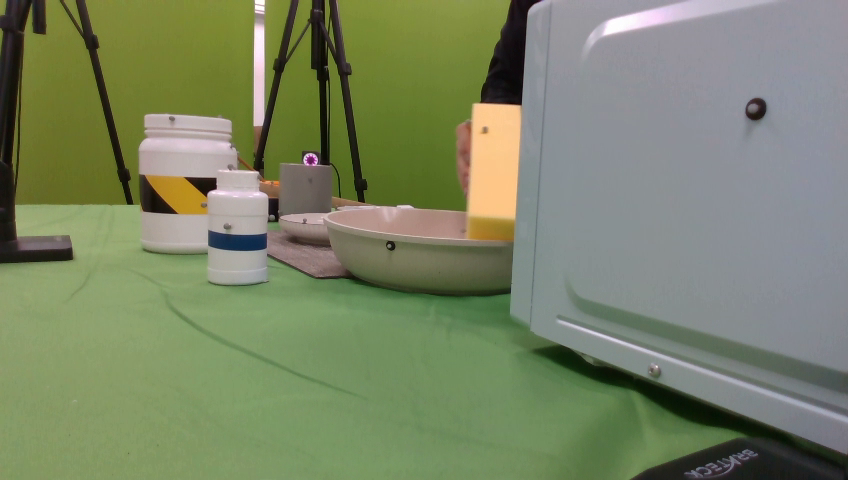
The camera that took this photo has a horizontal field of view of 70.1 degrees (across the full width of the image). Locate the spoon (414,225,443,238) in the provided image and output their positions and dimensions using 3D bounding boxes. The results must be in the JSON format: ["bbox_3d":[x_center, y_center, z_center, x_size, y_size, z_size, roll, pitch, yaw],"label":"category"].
[{"bbox_3d":[0.017,-0.020,1.113,0.041,0.021,0.194,-14,3,12],"label":"spoon"}]

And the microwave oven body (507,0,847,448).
[{"bbox_3d":[0.331,-0.042,0.425,0.444,0.260,0.324,-2,8,-31],"label":"microwave oven body"}]

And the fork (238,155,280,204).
[{"bbox_3d":[-0.396,-0.143,1.486,0.028,0.018,0.208,20,-26,45],"label":"fork"}]

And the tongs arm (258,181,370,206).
[{"bbox_3d":[-0.241,-0.095,1.373,0.387,0.026,0.050,9,0,-37],"label":"tongs arm"}]

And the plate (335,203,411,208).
[{"bbox_3d":[-0.089,-0.053,1.309,0.208,0.039,0.207,2,8,0],"label":"plate"}]

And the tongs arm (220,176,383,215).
[{"bbox_3d":[-0.285,-0.104,1.445,0.389,0.027,0.028,9,-4,-23],"label":"tongs arm"}]

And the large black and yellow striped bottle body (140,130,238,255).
[{"bbox_3d":[-0.336,-0.078,0.871,0.131,0.184,0.130,2,8,0],"label":"large black and yellow striped bottle body"}]

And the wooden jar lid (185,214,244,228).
[{"bbox_3d":[-0.404,-0.037,1.169,0.108,0.020,0.108,3,7,0],"label":"wooden jar lid"}]

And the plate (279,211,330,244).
[{"bbox_3d":[-0.139,-0.022,1.021,0.209,0.038,0.209,2,8,0],"label":"plate"}]

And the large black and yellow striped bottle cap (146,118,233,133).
[{"bbox_3d":[-0.333,-0.163,0.861,0.115,0.019,0.115,1,9,0],"label":"large black and yellow striped bottle cap"}]

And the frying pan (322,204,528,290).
[{"bbox_3d":[0.109,-0.017,0.800,0.490,0.102,0.305,-12,16,-30],"label":"frying pan"}]

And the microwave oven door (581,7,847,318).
[{"bbox_3d":[0.295,-0.067,0.570,0.358,0.243,0.039,-3,8,-31],"label":"microwave oven door"}]

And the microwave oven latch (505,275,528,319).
[{"bbox_3d":[0.100,0.042,0.471,0.079,0.029,0.030,-2,7,-29],"label":"microwave oven latch"}]

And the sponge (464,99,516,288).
[{"bbox_3d":[0.080,-0.058,0.709,0.061,0.118,0.206,3,46,3],"label":"sponge"}]

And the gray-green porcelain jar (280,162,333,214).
[{"bbox_3d":[-0.238,-0.092,1.221,0.106,0.126,0.106,2,7,0],"label":"gray-green porcelain jar"}]

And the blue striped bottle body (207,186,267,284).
[{"bbox_3d":[-0.204,-0.016,0.663,0.063,0.120,0.063,2,7,0],"label":"blue striped bottle body"}]

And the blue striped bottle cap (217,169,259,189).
[{"bbox_3d":[-0.202,-0.067,0.656,0.044,0.020,0.044,0,10,0],"label":"blue striped bottle cap"}]
